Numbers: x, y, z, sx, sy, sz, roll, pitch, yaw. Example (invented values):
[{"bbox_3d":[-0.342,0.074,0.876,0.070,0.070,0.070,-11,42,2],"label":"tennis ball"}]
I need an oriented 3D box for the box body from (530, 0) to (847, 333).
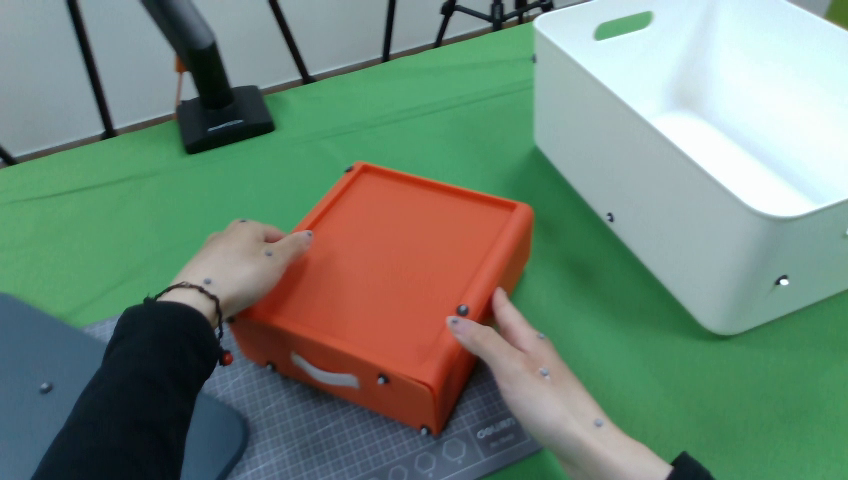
[{"bbox_3d":[0.292,-0.107,0.606,0.254,0.162,0.359,-18,46,-12],"label":"box body"}]

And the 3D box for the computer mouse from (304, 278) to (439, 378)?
[{"bbox_3d":[-0.046,0.074,0.535,0.116,0.041,0.062,21,47,17],"label":"computer mouse"}]

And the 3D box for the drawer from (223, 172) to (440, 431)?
[{"bbox_3d":[-0.033,0.040,0.549,0.193,0.074,0.211,16,47,22],"label":"drawer"}]

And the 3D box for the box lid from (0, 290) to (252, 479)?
[{"bbox_3d":[-0.350,0.183,0.490,0.369,0.015,0.262,17,50,23],"label":"box lid"}]

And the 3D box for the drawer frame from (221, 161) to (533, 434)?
[{"bbox_3d":[-0.032,0.036,0.550,0.200,0.083,0.212,16,48,21],"label":"drawer frame"}]
